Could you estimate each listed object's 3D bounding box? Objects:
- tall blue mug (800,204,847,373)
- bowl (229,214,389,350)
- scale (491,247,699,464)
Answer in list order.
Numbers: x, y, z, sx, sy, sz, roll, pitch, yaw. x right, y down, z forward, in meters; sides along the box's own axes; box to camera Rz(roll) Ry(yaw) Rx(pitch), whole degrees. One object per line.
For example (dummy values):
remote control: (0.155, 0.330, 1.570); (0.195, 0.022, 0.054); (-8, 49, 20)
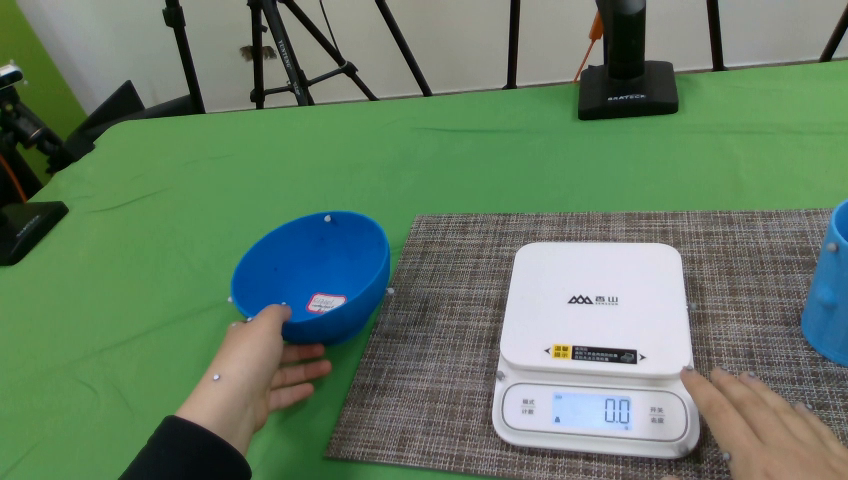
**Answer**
tall blue mug: (0.332, 0.042, 0.423); (0.078, 0.109, 0.106); (-33, 43, -22)
bowl: (-0.098, 0.052, 0.580); (0.151, 0.077, 0.150); (-9, 40, 8)
scale: (0.139, 0.082, 0.499); (0.148, 0.032, 0.199); (0, 42, 18)
